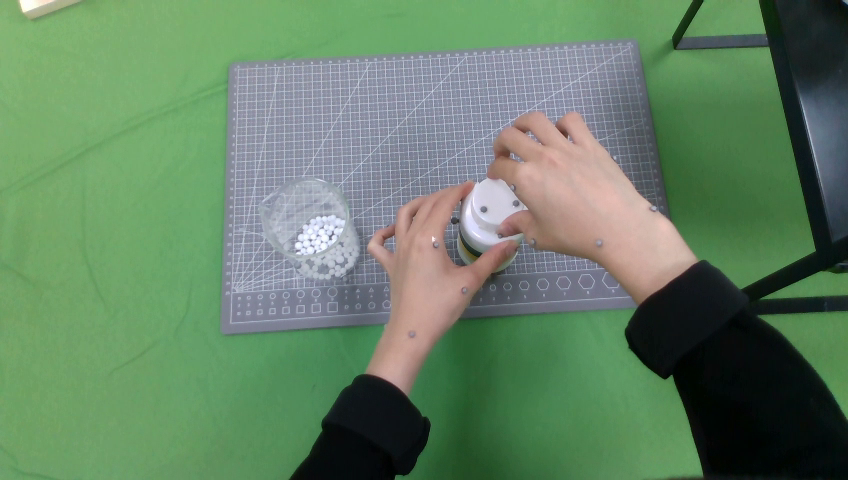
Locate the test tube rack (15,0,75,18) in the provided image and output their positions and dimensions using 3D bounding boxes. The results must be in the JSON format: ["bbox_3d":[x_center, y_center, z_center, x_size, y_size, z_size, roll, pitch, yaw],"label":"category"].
[{"bbox_3d":[-0.357,-0.342,0.671,0.242,0.085,0.066,-24,74,-7],"label":"test tube rack"}]

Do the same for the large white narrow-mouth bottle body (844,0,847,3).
[{"bbox_3d":[0.358,-0.245,0.393,0.102,0.196,0.101,-1,72,3],"label":"large white narrow-mouth bottle body"}]

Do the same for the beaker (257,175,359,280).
[{"bbox_3d":[-0.103,-0.007,0.560,0.084,0.101,0.073,16,73,6],"label":"beaker"}]

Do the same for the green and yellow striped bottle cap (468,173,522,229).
[{"bbox_3d":[0.058,-0.033,0.501,0.045,0.020,0.045,1,76,-2],"label":"green and yellow striped bottle cap"}]

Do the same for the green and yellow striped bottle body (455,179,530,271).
[{"bbox_3d":[0.061,-0.016,0.550,0.063,0.120,0.063,0,73,1],"label":"green and yellow striped bottle body"}]
